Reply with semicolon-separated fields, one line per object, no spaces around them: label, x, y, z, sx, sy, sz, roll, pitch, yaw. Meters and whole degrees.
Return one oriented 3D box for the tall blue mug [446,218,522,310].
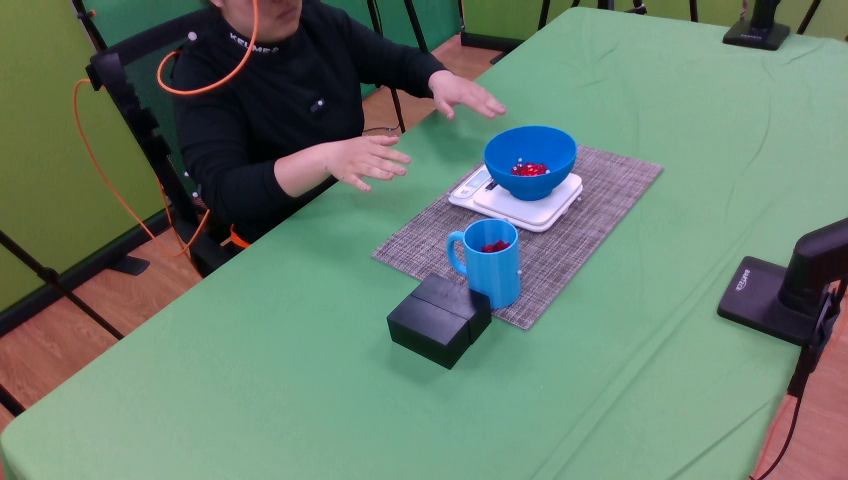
tall blue mug;0.082;0.034;0.852;0.107;0.108;0.077;-1;41;10

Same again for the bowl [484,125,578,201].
bowl;0.175;-0.117;0.991;0.151;0.077;0.150;-6;40;5

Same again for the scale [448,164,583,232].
scale;0.156;-0.085;1.039;0.199;0.032;0.149;22;49;32
